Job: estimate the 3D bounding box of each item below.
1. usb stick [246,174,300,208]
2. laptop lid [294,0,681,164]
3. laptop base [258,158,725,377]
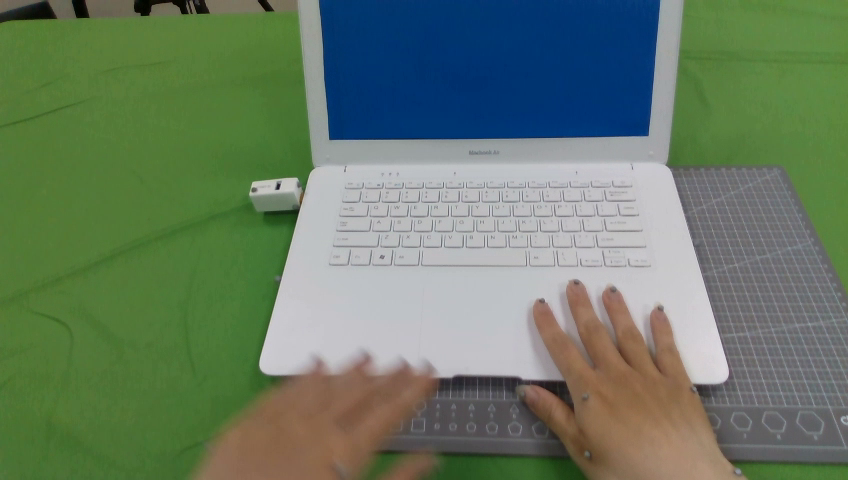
[{"bbox_3d":[-0.137,-0.047,0.583,0.059,0.027,0.021,-2,48,4],"label":"usb stick"},{"bbox_3d":[0.055,-0.182,0.567,0.356,0.243,0.013,-1,19,5],"label":"laptop lid"},{"bbox_3d":[0.052,0.015,0.530,0.354,0.023,0.233,0,52,4],"label":"laptop base"}]
